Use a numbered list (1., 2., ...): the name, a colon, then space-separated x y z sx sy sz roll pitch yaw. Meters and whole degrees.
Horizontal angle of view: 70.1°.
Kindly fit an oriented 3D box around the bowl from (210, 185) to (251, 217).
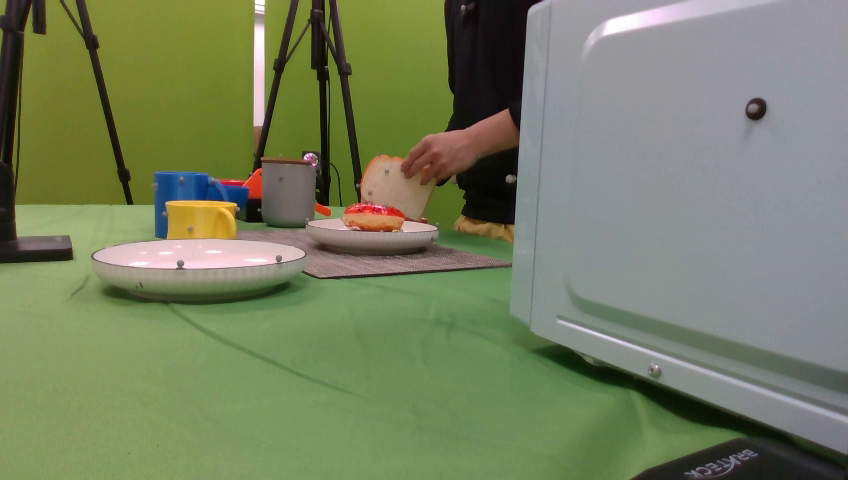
1. bowl: -0.408 -0.064 1.155 0.151 0.077 0.151 2 8 0

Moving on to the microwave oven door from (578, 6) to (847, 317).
1. microwave oven door: 0.294 -0.067 0.570 0.358 0.243 0.039 -3 9 -31

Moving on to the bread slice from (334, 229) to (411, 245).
1. bread slice: -0.075 -0.006 0.938 0.105 0.019 0.131 -1 5 -20

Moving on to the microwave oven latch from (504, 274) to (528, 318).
1. microwave oven latch: 0.100 0.041 0.471 0.079 0.029 0.030 -1 8 -28

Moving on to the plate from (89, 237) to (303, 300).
1. plate: -0.233 0.029 0.637 0.208 0.039 0.207 2 7 0

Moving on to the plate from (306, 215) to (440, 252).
1. plate: -0.080 -0.011 0.949 0.209 0.038 0.209 2 8 0

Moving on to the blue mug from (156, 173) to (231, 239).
1. blue mug: -0.381 -0.057 1.004 0.117 0.106 0.082 0 8 -12

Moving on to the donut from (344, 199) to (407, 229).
1. donut: -0.077 -0.039 0.948 0.099 0.048 0.099 2 4 0

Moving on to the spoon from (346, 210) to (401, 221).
1. spoon: -0.121 -0.060 1.400 0.042 0.021 0.192 -26 24 -38

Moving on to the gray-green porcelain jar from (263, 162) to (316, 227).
1. gray-green porcelain jar: -0.271 -0.092 1.217 0.106 0.126 0.106 2 7 0

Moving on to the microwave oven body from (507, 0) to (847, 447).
1. microwave oven body: 0.331 -0.042 0.425 0.444 0.260 0.324 -2 8 -31

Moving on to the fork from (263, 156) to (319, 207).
1. fork: -0.331 -0.144 1.505 0.207 0.018 0.028 -42 -20 22

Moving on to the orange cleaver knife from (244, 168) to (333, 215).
1. orange cleaver knife: -0.300 -0.089 1.351 0.212 0.077 0.012 28 -9 -34

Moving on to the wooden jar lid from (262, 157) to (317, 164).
1. wooden jar lid: -0.269 -0.154 1.208 0.108 0.020 0.108 3 4 0

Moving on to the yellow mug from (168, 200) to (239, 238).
1. yellow mug: -0.320 -0.023 0.904 0.130 0.064 0.100 9 10 36

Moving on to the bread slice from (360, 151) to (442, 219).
1. bread slice: -0.047 -0.103 1.099 0.135 0.107 0.018 14 18 -18
